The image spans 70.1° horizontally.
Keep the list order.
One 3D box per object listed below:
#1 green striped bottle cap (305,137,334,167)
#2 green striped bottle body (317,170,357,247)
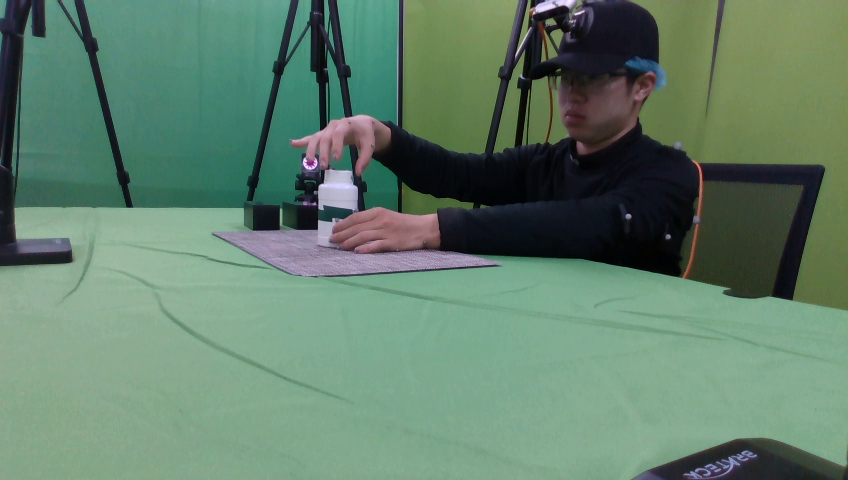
[{"bbox_3d":[-0.158,-0.133,0.917,0.044,0.044,0.020,1,-25,-9],"label":"green striped bottle cap"},{"bbox_3d":[-0.138,-0.051,0.964,0.063,0.119,0.063,2,7,0],"label":"green striped bottle body"}]
